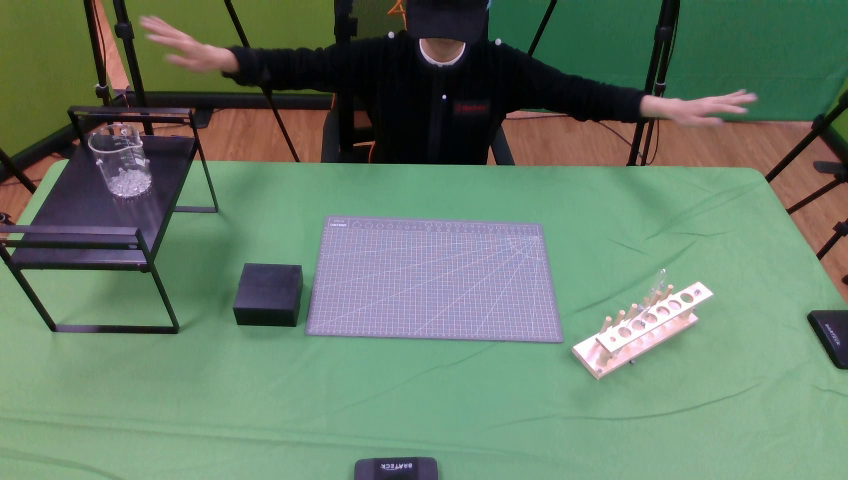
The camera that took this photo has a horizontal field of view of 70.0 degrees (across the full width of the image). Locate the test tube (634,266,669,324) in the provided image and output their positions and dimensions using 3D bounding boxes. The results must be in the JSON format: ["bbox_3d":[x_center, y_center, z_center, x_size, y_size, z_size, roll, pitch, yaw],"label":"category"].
[{"bbox_3d":[0.381,0.095,1.020,0.017,0.151,0.017,2,48,-2],"label":"test tube"}]

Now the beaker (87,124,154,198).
[{"bbox_3d":[-0.482,-0.124,0.978,0.084,0.101,0.073,9,46,4],"label":"beaker"}]

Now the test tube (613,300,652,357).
[{"bbox_3d":[0.328,0.144,0.962,0.017,0.151,0.017,3,49,-4],"label":"test tube"}]

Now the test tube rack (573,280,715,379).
[{"bbox_3d":[0.378,0.140,1.038,0.242,0.085,0.066,-22,51,-23],"label":"test tube rack"}]
